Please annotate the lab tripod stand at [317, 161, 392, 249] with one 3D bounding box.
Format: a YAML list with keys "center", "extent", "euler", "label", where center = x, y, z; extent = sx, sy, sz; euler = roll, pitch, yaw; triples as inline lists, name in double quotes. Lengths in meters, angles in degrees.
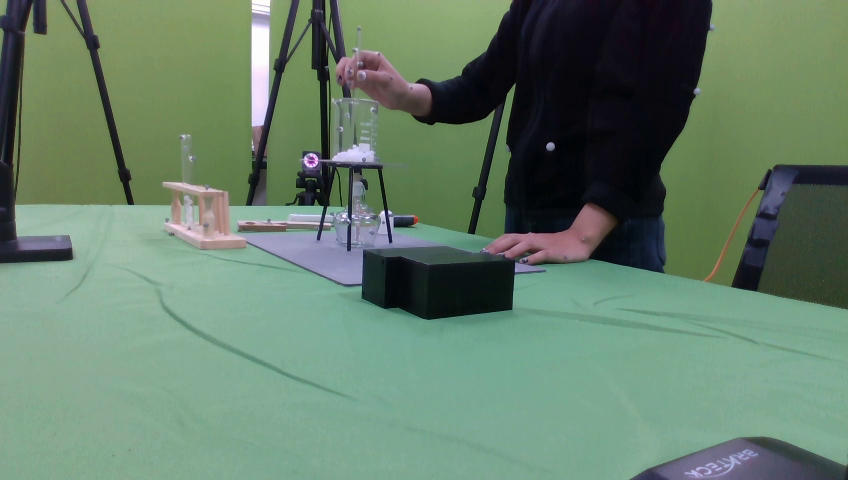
- center: [-0.111, -0.059, 0.964]
  extent: [0.148, 0.131, 0.148]
  euler: [4, 8, 0]
  label: "lab tripod stand"

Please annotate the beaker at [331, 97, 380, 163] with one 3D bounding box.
- center: [-0.111, -0.171, 0.950]
  extent: [0.073, 0.100, 0.084]
  euler: [12, 12, 42]
  label: "beaker"

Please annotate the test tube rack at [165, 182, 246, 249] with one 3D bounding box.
- center: [-0.360, -0.044, 0.982]
  extent: [0.067, 0.085, 0.241]
  euler: [-3, 9, -34]
  label: "test tube rack"

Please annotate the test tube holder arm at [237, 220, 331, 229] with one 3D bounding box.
- center: [-0.260, -0.028, 1.140]
  extent: [0.179, 0.015, 0.013]
  euler: [-1, 40, -32]
  label: "test tube holder arm"

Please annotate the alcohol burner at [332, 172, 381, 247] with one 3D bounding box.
- center: [-0.107, -0.048, 0.961]
  extent: [0.078, 0.119, 0.078]
  euler: [1, 9, 0]
  label: "alcohol burner"

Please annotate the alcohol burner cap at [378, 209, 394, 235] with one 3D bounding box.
- center: [-0.072, -0.035, 1.145]
  extent: [0.034, 0.048, 0.034]
  euler: [2, 7, 0]
  label: "alcohol burner cap"

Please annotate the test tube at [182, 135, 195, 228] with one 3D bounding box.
- center: [-0.382, -0.095, 0.983]
  extent: [0.017, 0.150, 0.017]
  euler: [-1, 2, 0]
  label: "test tube"

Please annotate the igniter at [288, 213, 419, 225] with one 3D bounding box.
- center: [-0.145, -0.044, 1.278]
  extent: [0.278, 0.025, 0.057]
  euler: [-1, -2, -21]
  label: "igniter"

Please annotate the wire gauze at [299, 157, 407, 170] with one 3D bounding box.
- center: [-0.112, -0.124, 0.959]
  extent: [0.121, 0.011, 0.126]
  euler: [13, 12, 40]
  label: "wire gauze"

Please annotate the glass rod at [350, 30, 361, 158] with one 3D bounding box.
- center: [-0.110, -0.230, 0.963]
  extent: [0.008, 0.199, 0.008]
  euler: [5, 11, -1]
  label: "glass rod"

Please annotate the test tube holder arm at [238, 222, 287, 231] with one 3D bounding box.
- center: [-0.296, -0.024, 1.112]
  extent: [0.088, 0.015, 0.010]
  euler: [-1, 40, -32]
  label: "test tube holder arm"
